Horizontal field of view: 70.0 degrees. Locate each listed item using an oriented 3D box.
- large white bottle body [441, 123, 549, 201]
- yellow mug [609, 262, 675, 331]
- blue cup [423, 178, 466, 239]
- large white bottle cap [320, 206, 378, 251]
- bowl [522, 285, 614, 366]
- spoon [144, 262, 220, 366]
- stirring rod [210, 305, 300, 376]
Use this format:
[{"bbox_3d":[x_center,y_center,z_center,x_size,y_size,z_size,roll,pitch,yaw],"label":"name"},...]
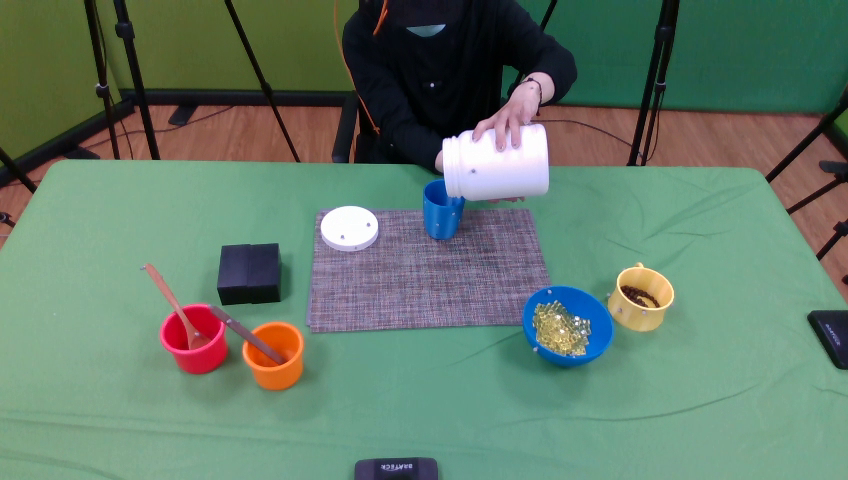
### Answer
[{"bbox_3d":[0.129,-0.140,1.103,0.184,0.131,0.130,-4,45,8],"label":"large white bottle body"},{"bbox_3d":[0.393,0.094,1.103,0.100,0.064,0.130,7,45,3],"label":"yellow mug"},{"bbox_3d":[0.036,-0.056,1.192,0.093,0.101,0.092,3,45,-3],"label":"blue cup"},{"bbox_3d":[-0.150,-0.024,1.207,0.115,0.018,0.114,2,46,-2],"label":"large white bottle cap"},{"bbox_3d":[0.235,0.158,1.022,0.151,0.077,0.150,2,46,-2],"label":"bowl"},{"bbox_3d":[-0.389,0.118,0.970,0.041,0.021,0.194,-34,101,-33],"label":"spoon"},{"bbox_3d":[-0.262,0.158,0.946,0.177,0.006,0.014,43,43,-21],"label":"stirring rod"}]
